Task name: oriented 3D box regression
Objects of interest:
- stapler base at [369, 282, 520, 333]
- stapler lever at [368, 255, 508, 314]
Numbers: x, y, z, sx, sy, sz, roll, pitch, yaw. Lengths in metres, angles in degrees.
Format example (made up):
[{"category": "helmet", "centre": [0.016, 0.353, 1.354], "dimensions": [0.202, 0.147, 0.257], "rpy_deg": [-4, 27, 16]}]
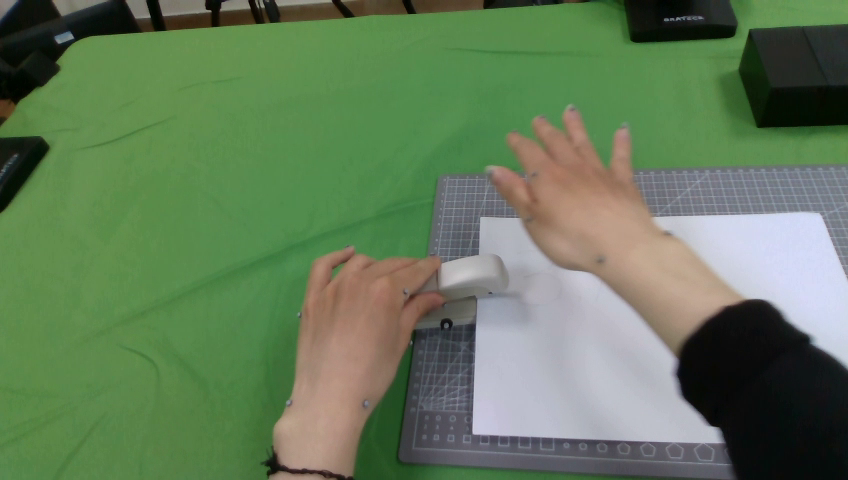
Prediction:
[{"category": "stapler base", "centre": [0.015, 0.052, 0.515], "dimensions": [0.130, 0.025, 0.041], "rpy_deg": [-7, 47, 7]}, {"category": "stapler lever", "centre": [0.009, 0.037, 0.496], "dimensions": [0.118, 0.040, 0.026], "rpy_deg": [-6, 47, 7]}]
